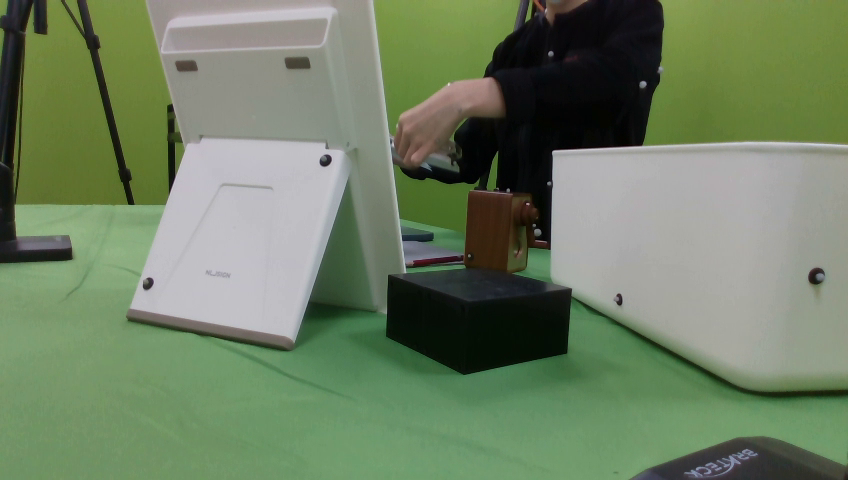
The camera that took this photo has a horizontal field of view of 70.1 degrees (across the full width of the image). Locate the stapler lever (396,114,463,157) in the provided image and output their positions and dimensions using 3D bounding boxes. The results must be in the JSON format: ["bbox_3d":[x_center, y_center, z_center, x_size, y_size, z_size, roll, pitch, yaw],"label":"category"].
[{"bbox_3d":[0.008,-0.156,0.891,0.117,0.040,0.027,21,-3,32],"label":"stapler lever"}]

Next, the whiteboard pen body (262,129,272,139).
[{"bbox_3d":[-0.361,-0.245,1.393,0.017,0.017,0.140,0,5,-20],"label":"whiteboard pen body"}]

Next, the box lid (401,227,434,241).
[{"bbox_3d":[-0.196,-0.015,1.105,0.373,0.015,0.262,-1,7,-32],"label":"box lid"}]

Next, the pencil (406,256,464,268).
[{"bbox_3d":[0.041,0.028,0.850,0.195,0.012,0.012,-5,11,-44],"label":"pencil"}]

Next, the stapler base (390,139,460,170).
[{"bbox_3d":[-0.004,-0.134,0.890,0.130,0.024,0.041,21,-3,32],"label":"stapler base"}]

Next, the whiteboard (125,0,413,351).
[{"bbox_3d":[-0.151,-0.050,0.471,0.216,0.305,0.144,6,27,24],"label":"whiteboard"}]

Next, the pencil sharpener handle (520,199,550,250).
[{"bbox_3d":[0.147,-0.019,0.785,0.030,0.068,0.036,8,25,36],"label":"pencil sharpener handle"}]

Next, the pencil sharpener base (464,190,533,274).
[{"bbox_3d":[0.102,-0.012,0.813,0.076,0.107,0.061,8,9,36],"label":"pencil sharpener base"}]

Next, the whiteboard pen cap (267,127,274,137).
[{"bbox_3d":[-0.340,-0.239,1.337,0.018,0.018,0.033,1,-1,-14],"label":"whiteboard pen cap"}]

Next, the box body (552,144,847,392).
[{"bbox_3d":[0.290,0.002,0.549,0.255,0.160,0.363,2,7,-10],"label":"box body"}]

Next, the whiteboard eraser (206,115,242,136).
[{"bbox_3d":[-0.438,-0.249,1.320,0.056,0.042,0.112,-3,9,-30],"label":"whiteboard eraser"}]
